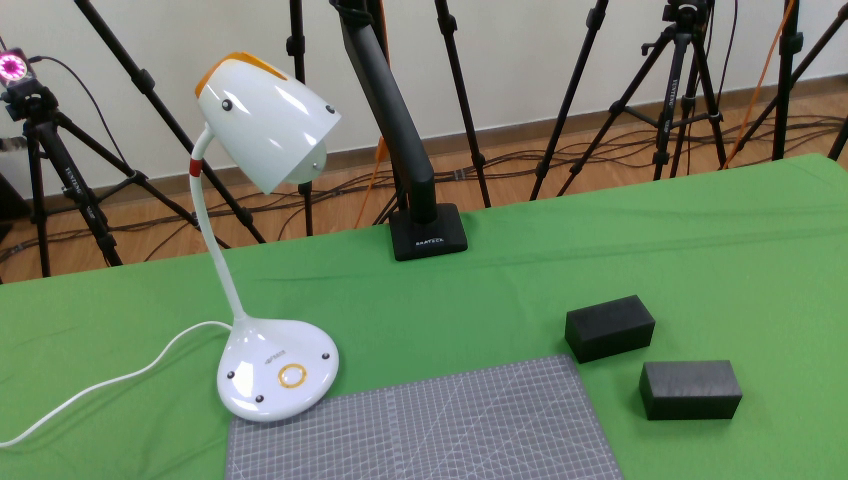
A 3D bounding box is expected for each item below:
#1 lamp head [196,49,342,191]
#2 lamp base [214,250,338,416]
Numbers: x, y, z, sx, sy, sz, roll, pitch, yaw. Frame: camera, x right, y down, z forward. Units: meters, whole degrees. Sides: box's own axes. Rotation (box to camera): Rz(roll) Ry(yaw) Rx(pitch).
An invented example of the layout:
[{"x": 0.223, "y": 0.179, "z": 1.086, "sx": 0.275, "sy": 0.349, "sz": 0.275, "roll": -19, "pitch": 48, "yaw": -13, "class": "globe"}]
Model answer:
[{"x": -0.163, "y": -0.123, "z": 0.598, "sx": 0.123, "sy": 0.112, "sz": 0.112, "roll": 38, "pitch": 46, "yaw": -12, "class": "lamp head"}, {"x": -0.212, "y": 0.105, "z": 0.772, "sx": 0.177, "sy": 0.182, "sz": 0.160, "roll": 22, "pitch": 48, "yaw": 32, "class": "lamp base"}]
